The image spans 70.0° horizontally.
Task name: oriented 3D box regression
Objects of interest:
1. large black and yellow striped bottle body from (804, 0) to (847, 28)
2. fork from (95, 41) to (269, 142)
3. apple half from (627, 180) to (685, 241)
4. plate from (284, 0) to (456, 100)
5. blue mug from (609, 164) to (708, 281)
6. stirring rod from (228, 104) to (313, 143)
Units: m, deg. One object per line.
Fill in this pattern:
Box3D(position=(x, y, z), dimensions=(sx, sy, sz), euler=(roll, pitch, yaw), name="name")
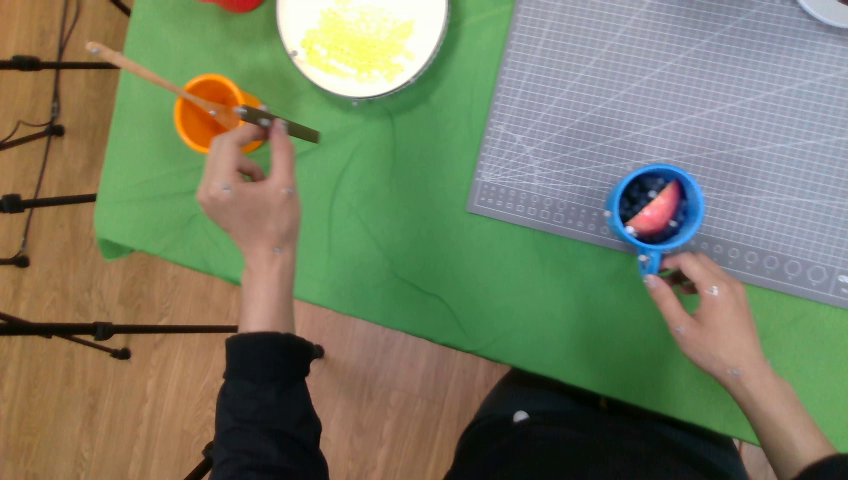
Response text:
Box3D(position=(0.428, -0.278, 0.530), dimensions=(0.130, 0.184, 0.130), euler=(0, 90, 12), name="large black and yellow striped bottle body")
Box3D(position=(-0.275, -0.172, 0.707), dimensions=(0.209, 0.018, 0.028), euler=(26, 99, -34), name="fork")
Box3D(position=(0.242, -0.024, 0.617), dimensions=(0.081, 0.081, 0.032), euler=(-43, 76, 11), name="apple half")
Box3D(position=(-0.062, -0.268, 0.713), dimensions=(0.208, 0.038, 0.209), euler=(1, 93, 13), name="plate")
Box3D(position=(0.236, -0.016, 0.625), dimensions=(0.082, 0.106, 0.116), euler=(3, 93, 13), name="blue mug")
Box3D(position=(-0.140, -0.108, 0.576), dimensions=(0.006, 0.176, 0.014), euler=(9, 95, 11), name="stirring rod")
